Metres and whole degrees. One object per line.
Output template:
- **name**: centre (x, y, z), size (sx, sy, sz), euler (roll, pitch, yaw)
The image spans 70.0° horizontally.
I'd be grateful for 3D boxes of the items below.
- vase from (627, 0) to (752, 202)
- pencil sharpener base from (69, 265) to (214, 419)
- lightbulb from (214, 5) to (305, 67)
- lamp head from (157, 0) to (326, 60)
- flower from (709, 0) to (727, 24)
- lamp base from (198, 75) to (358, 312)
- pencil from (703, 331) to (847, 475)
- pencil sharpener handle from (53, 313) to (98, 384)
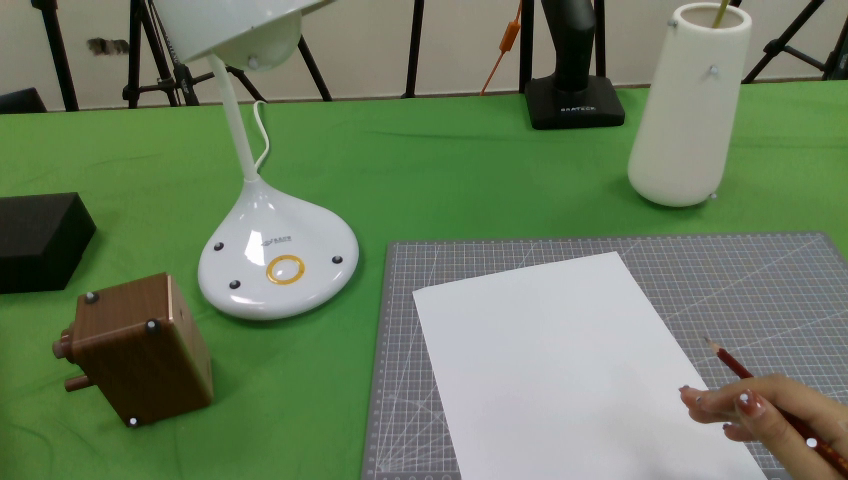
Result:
- **vase**: centre (0.270, -0.138, 0.623), size (0.098, 0.202, 0.097), euler (-3, 41, 3)
- **pencil sharpener base**: centre (-0.221, 0.084, 0.483), size (0.077, 0.108, 0.060), euler (-16, 44, -12)
- **lightbulb**: centre (-0.107, -0.156, 0.353), size (0.059, 0.108, 0.059), euler (-13, 19, 5)
- **lamp head**: centre (-0.117, -0.180, 0.350), size (0.112, 0.123, 0.112), euler (-24, 17, 8)
- **flower**: centre (0.259, -0.184, 0.553), size (0.043, 0.365, 0.038), euler (39, 70, 22)
- **lamp base**: centre (-0.158, -0.052, 0.574), size (0.161, 0.182, 0.177), euler (-23, 43, -20)
- **pencil**: centre (0.220, 0.107, 0.351), size (0.012, 0.012, 0.192), euler (-11, 27, -7)
- **pencil sharpener handle**: centre (-0.270, 0.087, 0.464), size (0.031, 0.068, 0.035), euler (-16, 47, -12)
